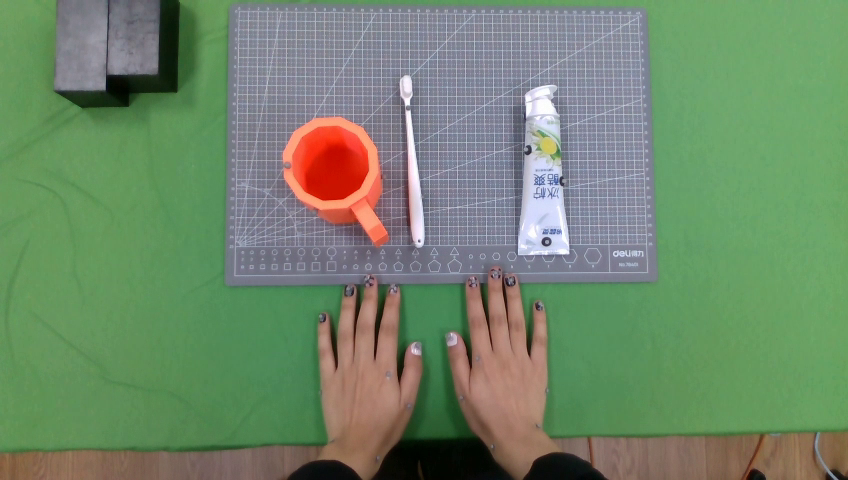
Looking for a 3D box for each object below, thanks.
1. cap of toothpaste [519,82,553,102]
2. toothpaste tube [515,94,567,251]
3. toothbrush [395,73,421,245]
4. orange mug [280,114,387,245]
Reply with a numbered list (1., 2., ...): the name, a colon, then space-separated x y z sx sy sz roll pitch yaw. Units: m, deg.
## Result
1. cap of toothpaste: 0.118 -0.153 0.633 0.037 0.037 0.011 -13 82 -4
2. toothpaste tube: 0.119 -0.071 0.633 0.055 0.034 0.165 -2 89 5
3. toothbrush: -0.015 -0.085 0.632 0.014 0.016 0.181 -4 87 -18
4. orange mug: -0.077 -0.052 0.587 0.083 0.101 0.126 -35 83 -5
